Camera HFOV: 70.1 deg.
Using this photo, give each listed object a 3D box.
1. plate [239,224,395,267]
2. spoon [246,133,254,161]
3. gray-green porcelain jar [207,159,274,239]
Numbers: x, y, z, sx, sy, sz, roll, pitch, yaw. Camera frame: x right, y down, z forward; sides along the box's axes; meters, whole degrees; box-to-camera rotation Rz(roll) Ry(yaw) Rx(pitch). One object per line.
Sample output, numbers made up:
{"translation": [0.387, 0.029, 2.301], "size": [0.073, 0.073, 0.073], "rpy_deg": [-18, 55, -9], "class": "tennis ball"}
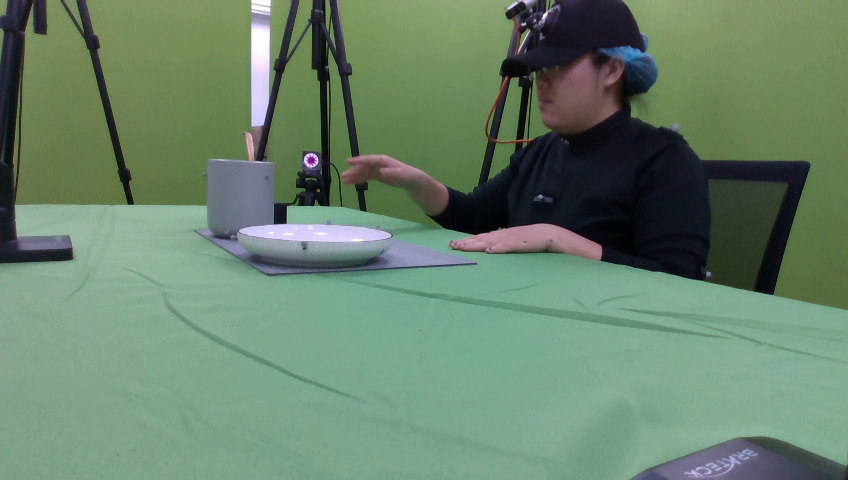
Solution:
{"translation": [-0.144, 0.007, 0.823], "size": [0.208, 0.039, 0.207], "rpy_deg": [3, 7, 0], "class": "plate"}
{"translation": [-0.344, -0.153, 1.209], "size": [0.042, 0.021, 0.193], "rpy_deg": [3, 51, -22], "class": "spoon"}
{"translation": [-0.304, -0.068, 1.004], "size": [0.106, 0.126, 0.106], "rpy_deg": [3, 7, 0], "class": "gray-green porcelain jar"}
